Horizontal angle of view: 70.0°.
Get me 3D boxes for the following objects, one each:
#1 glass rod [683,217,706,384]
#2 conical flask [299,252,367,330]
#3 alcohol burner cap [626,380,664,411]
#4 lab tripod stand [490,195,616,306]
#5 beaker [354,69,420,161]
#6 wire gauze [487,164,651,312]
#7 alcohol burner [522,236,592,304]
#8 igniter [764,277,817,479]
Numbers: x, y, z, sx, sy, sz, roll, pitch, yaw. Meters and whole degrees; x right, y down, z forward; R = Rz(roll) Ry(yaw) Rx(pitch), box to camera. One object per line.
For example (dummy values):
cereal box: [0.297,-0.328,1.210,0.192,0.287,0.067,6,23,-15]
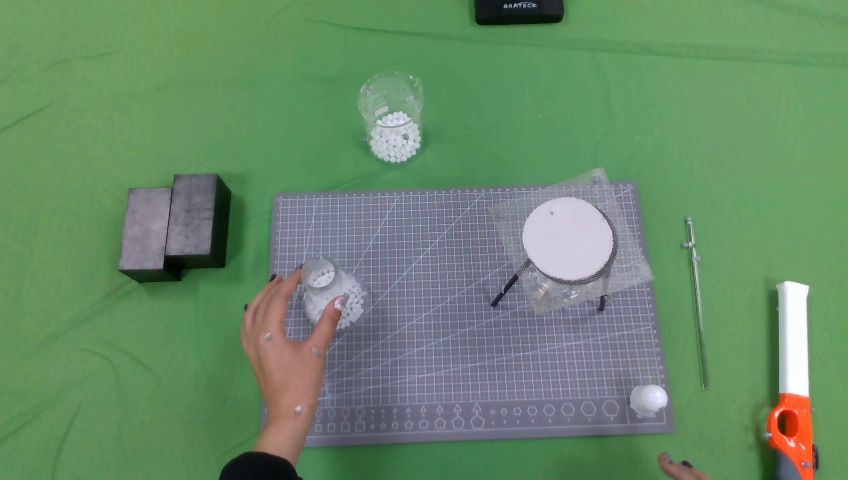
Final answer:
glass rod: [0.313,0.066,0.704,0.008,0.008,0.198,2,71,1]
conical flask: [-0.103,0.050,0.648,0.075,0.122,0.075,0,71,1]
alcohol burner cap: [0.240,0.165,0.651,0.034,0.048,0.033,0,72,0]
lab tripod stand: [0.141,0.020,0.651,0.148,0.132,0.147,0,73,1]
beaker: [-0.039,-0.148,0.729,0.084,0.101,0.073,-42,76,-13]
wire gauze: [0.139,-0.003,0.588,0.125,0.011,0.120,-18,74,-4]
alcohol burner: [0.148,0.028,0.659,0.078,0.120,0.077,1,71,-1]
igniter: [0.397,0.175,0.658,0.057,0.025,0.275,13,72,-6]
